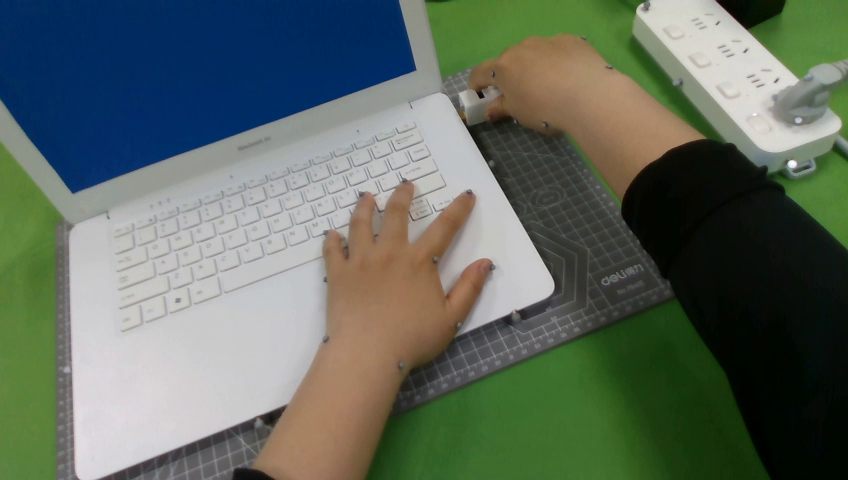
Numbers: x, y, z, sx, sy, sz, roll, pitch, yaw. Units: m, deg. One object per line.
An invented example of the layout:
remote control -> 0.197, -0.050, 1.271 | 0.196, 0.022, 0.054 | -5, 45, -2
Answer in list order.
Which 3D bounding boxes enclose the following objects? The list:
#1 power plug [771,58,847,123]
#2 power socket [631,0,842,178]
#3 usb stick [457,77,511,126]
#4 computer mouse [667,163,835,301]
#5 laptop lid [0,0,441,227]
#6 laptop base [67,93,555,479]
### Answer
power plug -> 0.304, -0.108, 0.463 | 0.072, 0.053, 0.035 | -10, 58, 2
power socket -> 0.258, -0.143, 0.520 | 0.072, 0.033, 0.224 | -20, 55, -3
usb stick -> 0.047, -0.120, 0.538 | 0.059, 0.027, 0.021 | -23, 57, -5
computer mouse -> 0.230, -0.012, 0.432 | 0.063, 0.041, 0.116 | -22, 50, -3
laptop lid -> -0.172, -0.154, 0.470 | 0.357, 0.244, 0.013 | -23, 42, -4
laptop base -> -0.105, 0.017, 0.484 | 0.354, 0.023, 0.233 | -21, 59, -5
